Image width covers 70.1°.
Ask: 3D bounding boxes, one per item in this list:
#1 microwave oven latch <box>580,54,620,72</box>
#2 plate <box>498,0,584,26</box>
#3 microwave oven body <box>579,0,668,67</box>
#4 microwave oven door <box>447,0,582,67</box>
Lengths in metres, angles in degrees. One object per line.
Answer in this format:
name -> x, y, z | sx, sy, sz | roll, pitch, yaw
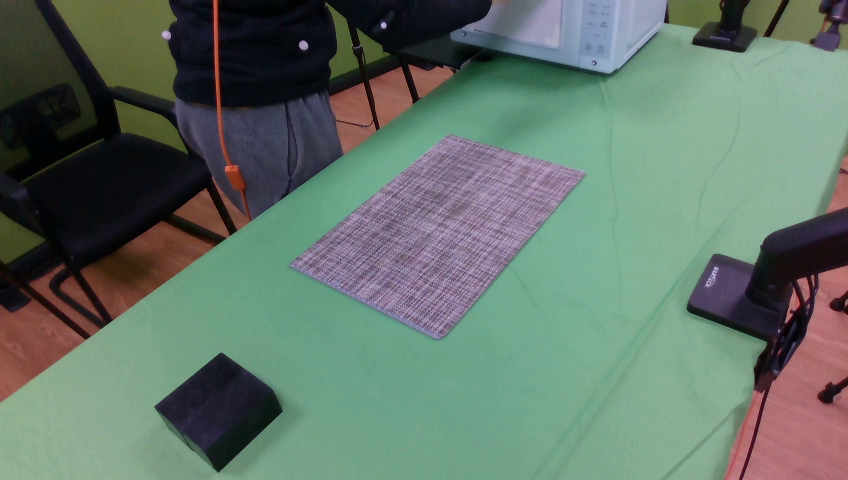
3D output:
microwave oven latch -> 0.386, -0.394, 1.330 | 0.078, 0.029, 0.030 | 25, 51, 32
plate -> 0.287, -0.573, 1.489 | 0.209, 0.038, 0.208 | -5, 41, 5
microwave oven body -> 0.325, -0.609, 1.437 | 0.438, 0.261, 0.327 | 23, 49, 30
microwave oven door -> 0.203, -0.544, 1.372 | 0.353, 0.245, 0.039 | 23, 49, 29
